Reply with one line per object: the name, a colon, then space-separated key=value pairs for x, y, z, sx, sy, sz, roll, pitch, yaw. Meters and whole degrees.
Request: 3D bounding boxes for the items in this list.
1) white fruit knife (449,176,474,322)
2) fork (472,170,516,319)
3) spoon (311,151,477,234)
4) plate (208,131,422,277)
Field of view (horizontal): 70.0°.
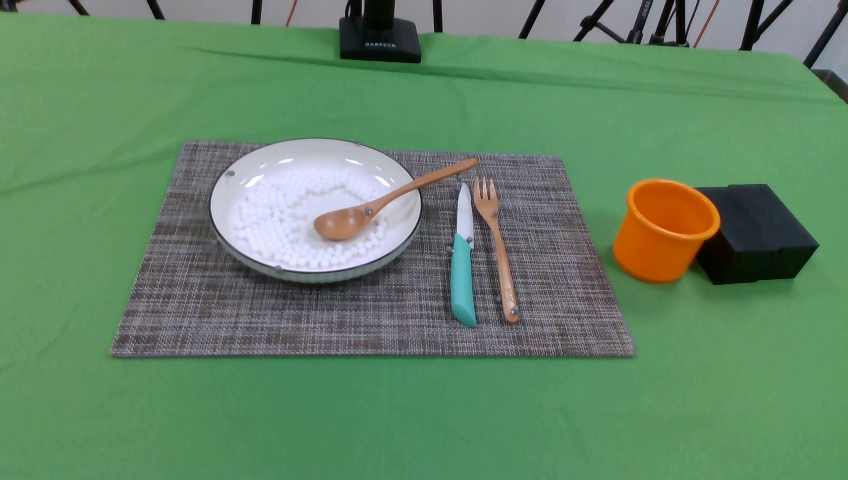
white fruit knife: x=0.039 y=-0.002 z=0.620 sx=0.027 sy=0.016 sz=0.205 roll=31 pitch=37 yaw=-22
fork: x=0.073 y=-0.003 z=0.622 sx=0.028 sy=0.019 sz=0.205 roll=10 pitch=42 yaw=-15
spoon: x=-0.025 y=-0.053 z=0.622 sx=0.194 sy=0.022 sz=0.041 roll=-28 pitch=53 yaw=-16
plate: x=-0.106 y=-0.036 z=0.614 sx=0.209 sy=0.038 sz=0.207 roll=5 pitch=44 yaw=-4
